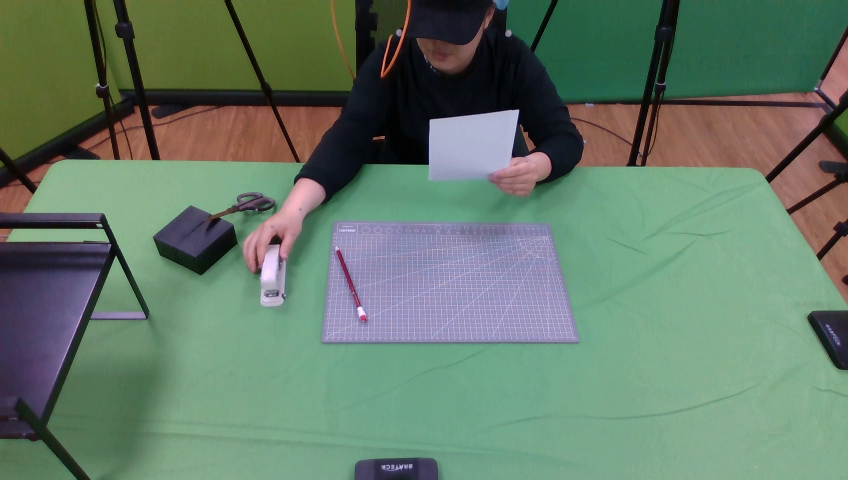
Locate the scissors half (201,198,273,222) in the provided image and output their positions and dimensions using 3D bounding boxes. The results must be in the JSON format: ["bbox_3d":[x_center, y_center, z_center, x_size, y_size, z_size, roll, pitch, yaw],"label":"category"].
[{"bbox_3d":[-0.365,-0.055,1.192,0.040,0.013,0.175,39,32,22],"label":"scissors half"}]

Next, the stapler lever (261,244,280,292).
[{"bbox_3d":[-0.278,0.045,1.097,0.027,0.040,0.117,0,43,-10],"label":"stapler lever"}]

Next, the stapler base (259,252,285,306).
[{"bbox_3d":[-0.279,0.064,1.113,0.041,0.024,0.129,0,43,-10],"label":"stapler base"}]

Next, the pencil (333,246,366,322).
[{"bbox_3d":[-0.140,0.077,1.116,0.012,0.012,0.192,-14,48,-17],"label":"pencil"}]

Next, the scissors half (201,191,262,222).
[{"bbox_3d":[-0.381,-0.066,1.198,0.040,0.013,0.175,25,28,9],"label":"scissors half"}]
